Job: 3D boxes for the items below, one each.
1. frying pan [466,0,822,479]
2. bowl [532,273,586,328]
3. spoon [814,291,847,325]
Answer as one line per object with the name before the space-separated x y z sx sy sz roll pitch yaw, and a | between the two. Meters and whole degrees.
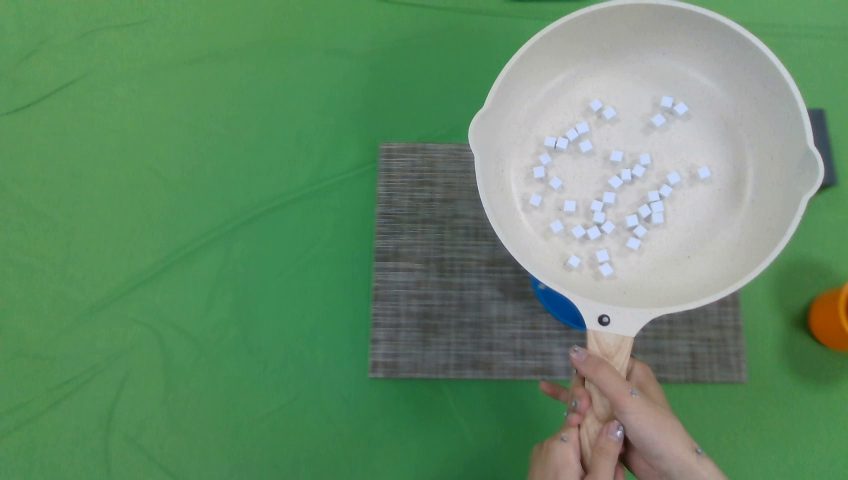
frying pan | 0.172 0.019 0.544 0.306 0.103 0.485 9 75 12
bowl | 0.194 0.034 0.708 0.151 0.077 0.150 0 77 0
spoon | 0.545 0.077 0.669 0.022 0.192 0.041 22 72 -41
